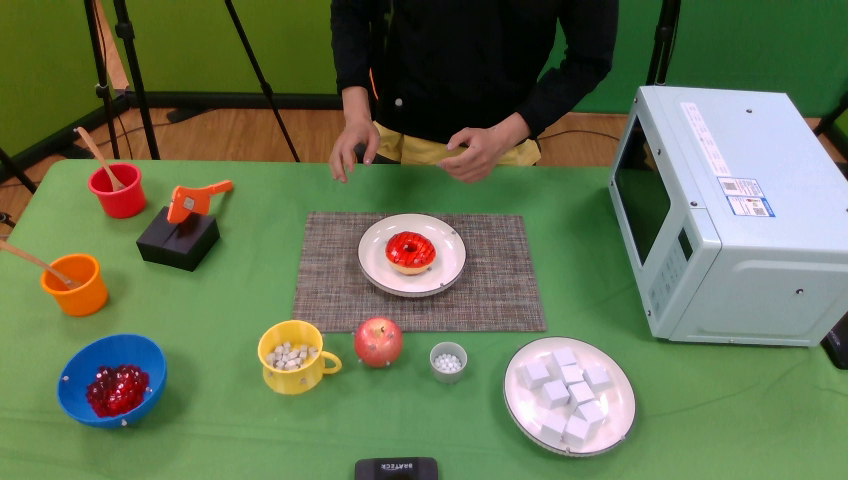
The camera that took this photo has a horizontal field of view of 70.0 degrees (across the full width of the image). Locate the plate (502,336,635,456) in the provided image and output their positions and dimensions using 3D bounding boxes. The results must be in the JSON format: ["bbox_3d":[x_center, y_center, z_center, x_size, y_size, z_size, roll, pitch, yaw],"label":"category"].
[{"bbox_3d":[0.225,0.248,0.963,0.208,0.039,0.206,2,46,-2],"label":"plate"}]

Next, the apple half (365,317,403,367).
[{"bbox_3d":[-0.063,0.165,1.000,0.053,0.075,0.080,-16,45,-24],"label":"apple half"}]

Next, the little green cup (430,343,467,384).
[{"bbox_3d":[0.039,0.203,0.993,0.061,0.039,0.061,2,46,-2],"label":"little green cup"}]

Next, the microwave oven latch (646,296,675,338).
[{"bbox_3d":[0.412,0.134,1.061,0.030,0.029,0.078,4,45,1],"label":"microwave oven latch"}]

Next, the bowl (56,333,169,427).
[{"bbox_3d":[-0.456,0.222,0.911,0.151,0.077,0.150,3,46,-2],"label":"bowl"}]

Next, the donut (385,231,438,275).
[{"bbox_3d":[-0.024,0.024,1.142,0.099,0.048,0.098,3,44,-2],"label":"donut"}]

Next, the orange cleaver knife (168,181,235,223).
[{"bbox_3d":[-0.436,-0.078,1.196,0.012,0.077,0.211,16,15,10],"label":"orange cleaver knife"}]

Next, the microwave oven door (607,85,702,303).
[{"bbox_3d":[0.423,-0.094,1.140,0.039,0.245,0.353,2,46,-1],"label":"microwave oven door"}]

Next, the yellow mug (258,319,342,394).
[{"bbox_3d":[-0.195,0.188,0.972,0.131,0.064,0.099,9,47,4],"label":"yellow mug"}]

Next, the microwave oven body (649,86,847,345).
[{"bbox_3d":[0.567,-0.053,1.118,0.326,0.261,0.439,2,45,-1],"label":"microwave oven body"}]

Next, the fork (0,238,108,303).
[{"bbox_3d":[-0.633,0.048,1.017,0.208,0.018,0.028,40,41,-27],"label":"fork"}]

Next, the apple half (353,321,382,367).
[{"bbox_3d":[-0.098,0.177,0.984,0.033,0.081,0.081,-17,49,-25],"label":"apple half"}]

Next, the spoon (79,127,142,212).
[{"bbox_3d":[-0.624,-0.140,1.203,0.041,0.021,0.194,-33,100,-26],"label":"spoon"}]

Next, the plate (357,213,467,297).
[{"bbox_3d":[-0.023,0.032,1.150,0.209,0.038,0.208,2,46,-2],"label":"plate"}]
